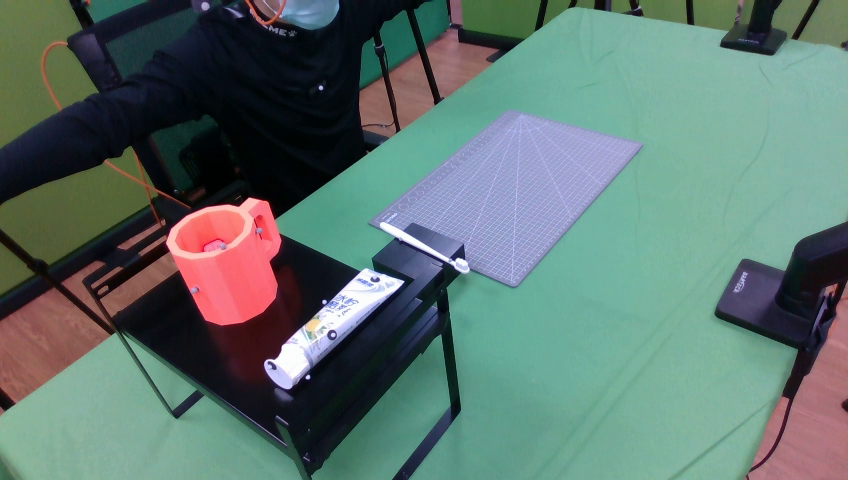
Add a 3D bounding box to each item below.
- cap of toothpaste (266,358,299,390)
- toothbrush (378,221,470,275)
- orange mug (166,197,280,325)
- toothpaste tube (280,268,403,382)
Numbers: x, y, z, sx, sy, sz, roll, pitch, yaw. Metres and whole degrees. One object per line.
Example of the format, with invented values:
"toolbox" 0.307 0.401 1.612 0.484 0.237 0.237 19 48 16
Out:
"cap of toothpaste" -0.130 0.122 0.558 0.037 0.037 0.011 18 42 26
"toothbrush" -0.004 0.007 0.894 0.180 0.017 0.014 27 54 34
"orange mug" -0.203 0.014 0.650 0.083 0.101 0.126 12 48 22
"toothpaste tube" -0.087 0.081 0.609 0.054 0.034 0.165 21 43 24
